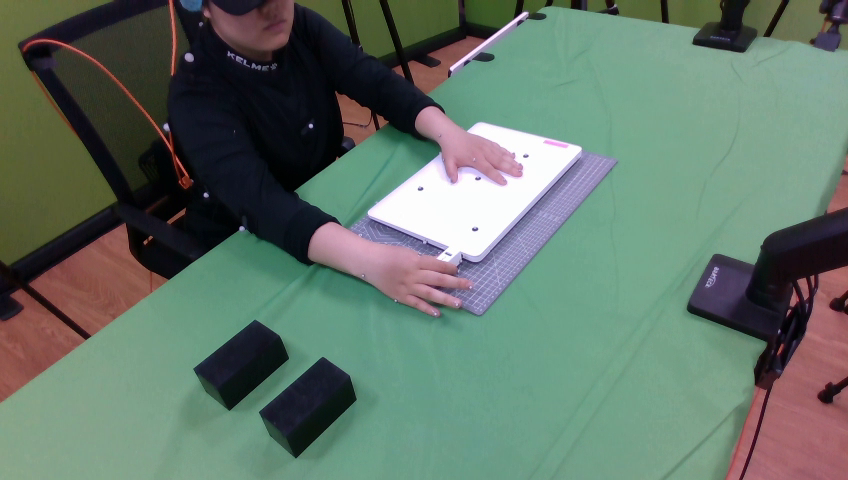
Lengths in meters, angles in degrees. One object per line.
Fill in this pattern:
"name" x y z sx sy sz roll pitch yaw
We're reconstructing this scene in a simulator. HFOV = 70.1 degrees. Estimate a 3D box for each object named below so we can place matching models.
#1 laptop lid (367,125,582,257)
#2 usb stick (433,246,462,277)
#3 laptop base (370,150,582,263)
"laptop lid" 0.095 -0.104 1.067 0.239 0.013 0.358 22 48 34
"usb stick" 0.040 0.028 0.913 0.021 0.027 0.059 32 48 30
"laptop base" 0.098 -0.096 1.071 0.233 0.023 0.355 20 47 33
